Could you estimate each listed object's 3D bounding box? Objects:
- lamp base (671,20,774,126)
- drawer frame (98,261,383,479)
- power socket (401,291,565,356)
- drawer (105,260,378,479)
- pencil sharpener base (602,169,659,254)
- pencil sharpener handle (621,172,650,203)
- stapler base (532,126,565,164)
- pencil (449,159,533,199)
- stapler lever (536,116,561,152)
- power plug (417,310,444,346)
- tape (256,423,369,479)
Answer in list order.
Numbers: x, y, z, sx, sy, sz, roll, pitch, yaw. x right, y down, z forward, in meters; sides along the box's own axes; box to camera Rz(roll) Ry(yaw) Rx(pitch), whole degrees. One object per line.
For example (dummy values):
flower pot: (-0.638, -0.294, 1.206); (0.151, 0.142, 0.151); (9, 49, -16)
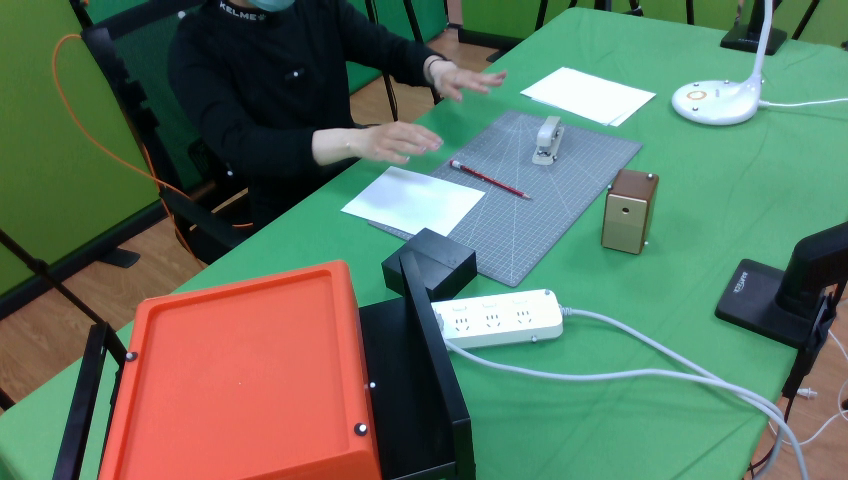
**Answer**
lamp base: (0.581, -0.332, 1.154); (0.179, 0.181, 0.160); (2, 41, 7)
drawer frame: (-0.149, 0.129, 0.520); (0.202, 0.083, 0.212); (-12, 41, -6)
power socket: (0.080, 0.112, 0.822); (0.227, 0.033, 0.072); (-6, 41, 0)
drawer: (-0.150, 0.127, 0.525); (0.195, 0.073, 0.210); (-11, 41, -5)
pencil sharpener base: (0.312, -0.044, 0.913); (0.061, 0.107, 0.077); (14, 45, 24)
pencil sharpener handle: (0.328, -0.087, 0.940); (0.036, 0.068, 0.030); (30, 49, 7)
stapler base: (0.238, -0.189, 1.155); (0.041, 0.024, 0.130); (10, 42, 17)
pencil: (0.118, -0.110, 1.091); (0.192, 0.012, 0.012); (30, 53, 34)
stapler lever: (0.236, -0.209, 1.140); (0.026, 0.040, 0.118); (10, 43, 18)
power plug: (0.006, 0.122, 0.785); (0.035, 0.053, 0.072); (-1, 40, 8)
tape: (-0.121, 0.263, 0.660); (0.117, 0.053, 0.116); (-4, 40, 4)
